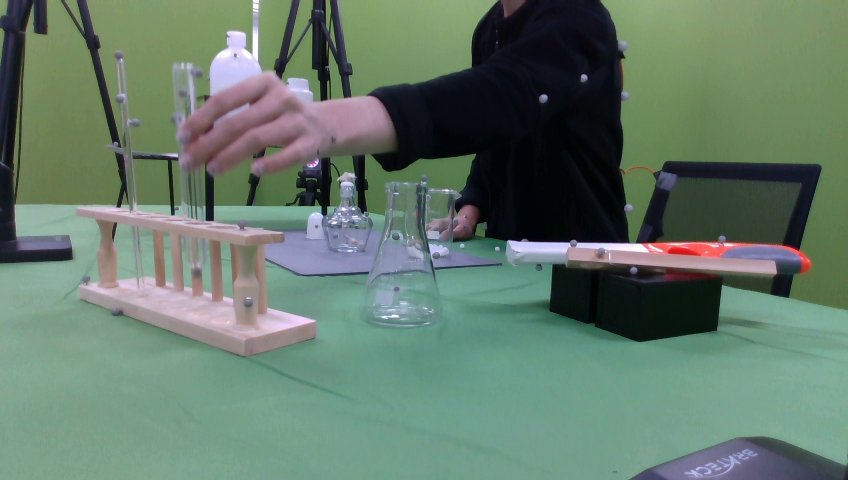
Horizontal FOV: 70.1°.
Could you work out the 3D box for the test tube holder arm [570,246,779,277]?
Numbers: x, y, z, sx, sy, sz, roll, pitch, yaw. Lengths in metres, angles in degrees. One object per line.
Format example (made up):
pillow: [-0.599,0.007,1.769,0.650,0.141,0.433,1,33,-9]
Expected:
test tube holder arm: [0.217,0.020,0.525,0.178,0.015,0.013,3,-24,2]

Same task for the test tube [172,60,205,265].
test tube: [-0.174,-0.055,0.447,0.017,0.150,0.017,0,10,0]

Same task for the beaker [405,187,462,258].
beaker: [0.013,-0.026,0.892,0.084,0.100,0.074,2,8,-2]

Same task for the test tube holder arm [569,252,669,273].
test tube holder arm: [0.172,0.019,0.532,0.088,0.015,0.010,3,-24,3]

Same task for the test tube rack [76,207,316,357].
test tube rack: [-0.196,0.023,0.499,0.241,0.085,0.067,7,8,36]

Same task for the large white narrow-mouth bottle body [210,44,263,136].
large white narrow-mouth bottle body: [-0.369,-0.305,1.194,0.102,0.194,0.102,3,8,0]

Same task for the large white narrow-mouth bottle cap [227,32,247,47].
large white narrow-mouth bottle cap: [-0.364,-0.390,1.180,0.038,0.024,0.037,3,8,0]

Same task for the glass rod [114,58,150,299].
glass rod: [-0.237,-0.044,0.492,0.008,0.199,0.008,1,15,0]

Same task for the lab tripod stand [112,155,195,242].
lab tripod stand: [-0.405,-0.064,0.931,0.148,0.131,0.148,1,6,0]

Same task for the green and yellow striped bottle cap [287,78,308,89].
green and yellow striped bottle cap: [-0.265,-0.326,1.268,0.045,0.020,0.045,4,6,0]

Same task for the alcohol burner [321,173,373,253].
alcohol burner: [-0.115,-0.040,0.905,0.078,0.119,0.078,0,6,0]

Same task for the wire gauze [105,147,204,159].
wire gauze: [-0.408,-0.131,0.928,0.125,0.011,0.121,2,6,-11]

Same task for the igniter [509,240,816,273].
igniter: [0.220,0.015,0.565,0.277,0.025,0.057,2,17,0]

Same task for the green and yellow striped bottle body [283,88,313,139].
green and yellow striped bottle body: [-0.266,-0.275,1.275,0.063,0.119,0.063,3,7,0]

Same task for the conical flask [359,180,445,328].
conical flask: [-0.017,0.010,0.522,0.075,0.122,0.075,2,8,0]

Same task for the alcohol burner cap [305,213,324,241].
alcohol burner cap: [-0.185,-0.023,1.027,0.034,0.048,0.034,3,7,0]
